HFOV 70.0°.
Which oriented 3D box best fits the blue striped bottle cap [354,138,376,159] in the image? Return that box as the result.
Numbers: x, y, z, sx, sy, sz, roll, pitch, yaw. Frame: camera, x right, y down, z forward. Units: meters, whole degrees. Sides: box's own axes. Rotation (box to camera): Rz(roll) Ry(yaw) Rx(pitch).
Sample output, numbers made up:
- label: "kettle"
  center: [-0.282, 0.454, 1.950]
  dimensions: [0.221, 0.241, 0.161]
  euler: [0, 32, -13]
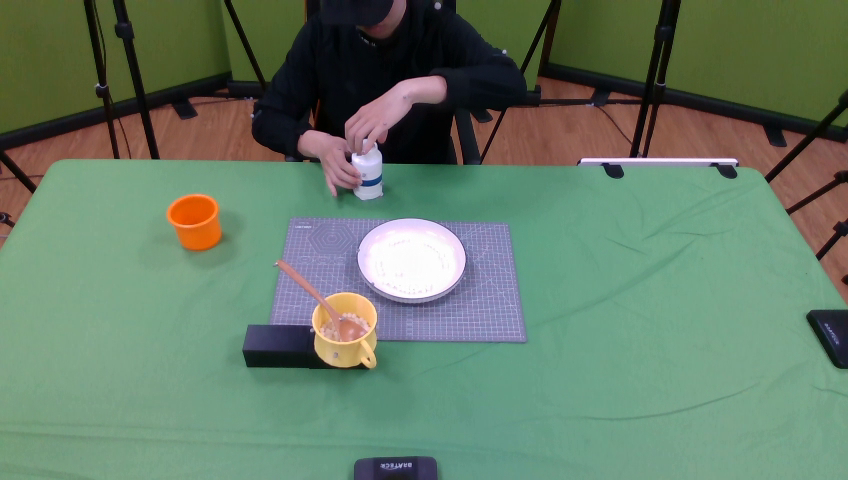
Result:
- label: "blue striped bottle cap"
  center: [-0.119, -0.185, 1.224]
  dimensions: [0.044, 0.021, 0.044]
  euler: [4, 48, -4]

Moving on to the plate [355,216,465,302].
- label: "plate"
  center: [-0.027, 0.039, 1.144]
  dimensions: [0.208, 0.039, 0.206]
  euler: [2, 46, -2]

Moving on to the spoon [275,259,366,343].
- label: "spoon"
  center: [-0.161, 0.098, 0.946]
  dimensions: [0.194, 0.021, 0.041]
  euler: [48, 56, -5]

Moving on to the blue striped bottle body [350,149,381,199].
- label: "blue striped bottle body"
  center: [-0.121, -0.148, 1.263]
  dimensions: [0.063, 0.121, 0.062]
  euler: [2, 47, -1]

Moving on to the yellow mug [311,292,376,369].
- label: "yellow mug"
  center: [-0.115, 0.150, 0.945]
  dimensions: [0.100, 0.064, 0.130]
  euler: [-29, 57, -28]
